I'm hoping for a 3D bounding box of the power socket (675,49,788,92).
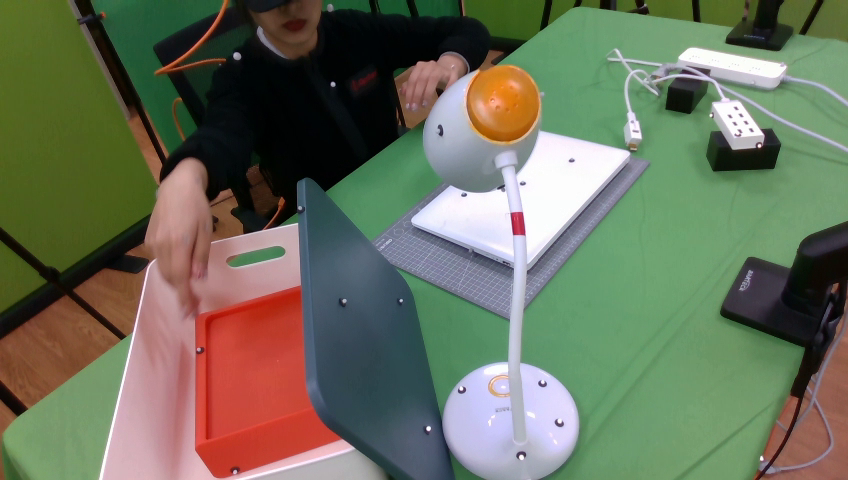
[{"bbox_3d":[0.647,-0.363,1.284,0.225,0.033,0.072,26,53,35],"label":"power socket"}]

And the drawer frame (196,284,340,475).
[{"bbox_3d":[-0.179,0.160,0.774,0.202,0.083,0.212,-16,41,-9],"label":"drawer frame"}]

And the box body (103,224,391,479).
[{"bbox_3d":[-0.190,0.161,0.723,0.255,0.161,0.361,-13,40,-5],"label":"box body"}]

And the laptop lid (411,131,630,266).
[{"bbox_3d":[0.172,-0.094,1.050,0.239,0.013,0.358,23,49,36],"label":"laptop lid"}]

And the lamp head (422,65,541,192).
[{"bbox_3d":[0.060,-0.106,0.560,0.113,0.112,0.122,-16,0,-8],"label":"lamp head"}]

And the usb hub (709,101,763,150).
[{"bbox_3d":[0.534,-0.199,1.040,0.049,0.025,0.124,-5,39,8],"label":"usb hub"}]

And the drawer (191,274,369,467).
[{"bbox_3d":[-0.187,0.157,0.772,0.195,0.073,0.210,-15,40,-8],"label":"drawer"}]

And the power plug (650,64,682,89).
[{"bbox_3d":[0.498,-0.341,1.263,0.035,0.052,0.072,20,10,-7],"label":"power plug"}]

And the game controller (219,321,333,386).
[{"bbox_3d":[-0.198,0.144,0.812,0.156,0.051,0.096,-16,12,-12],"label":"game controller"}]

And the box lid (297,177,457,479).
[{"bbox_3d":[-0.059,0.103,0.702,0.015,0.265,0.369,-30,39,11],"label":"box lid"}]

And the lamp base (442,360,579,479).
[{"bbox_3d":[0.094,0.158,0.657,0.161,0.181,0.178,-14,42,-5],"label":"lamp base"}]

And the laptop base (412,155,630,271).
[{"bbox_3d":[0.176,-0.084,1.056,0.233,0.023,0.355,20,48,36],"label":"laptop base"}]

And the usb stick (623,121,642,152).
[{"bbox_3d":[0.389,-0.191,1.128,0.021,0.027,0.059,9,61,-10],"label":"usb stick"}]
